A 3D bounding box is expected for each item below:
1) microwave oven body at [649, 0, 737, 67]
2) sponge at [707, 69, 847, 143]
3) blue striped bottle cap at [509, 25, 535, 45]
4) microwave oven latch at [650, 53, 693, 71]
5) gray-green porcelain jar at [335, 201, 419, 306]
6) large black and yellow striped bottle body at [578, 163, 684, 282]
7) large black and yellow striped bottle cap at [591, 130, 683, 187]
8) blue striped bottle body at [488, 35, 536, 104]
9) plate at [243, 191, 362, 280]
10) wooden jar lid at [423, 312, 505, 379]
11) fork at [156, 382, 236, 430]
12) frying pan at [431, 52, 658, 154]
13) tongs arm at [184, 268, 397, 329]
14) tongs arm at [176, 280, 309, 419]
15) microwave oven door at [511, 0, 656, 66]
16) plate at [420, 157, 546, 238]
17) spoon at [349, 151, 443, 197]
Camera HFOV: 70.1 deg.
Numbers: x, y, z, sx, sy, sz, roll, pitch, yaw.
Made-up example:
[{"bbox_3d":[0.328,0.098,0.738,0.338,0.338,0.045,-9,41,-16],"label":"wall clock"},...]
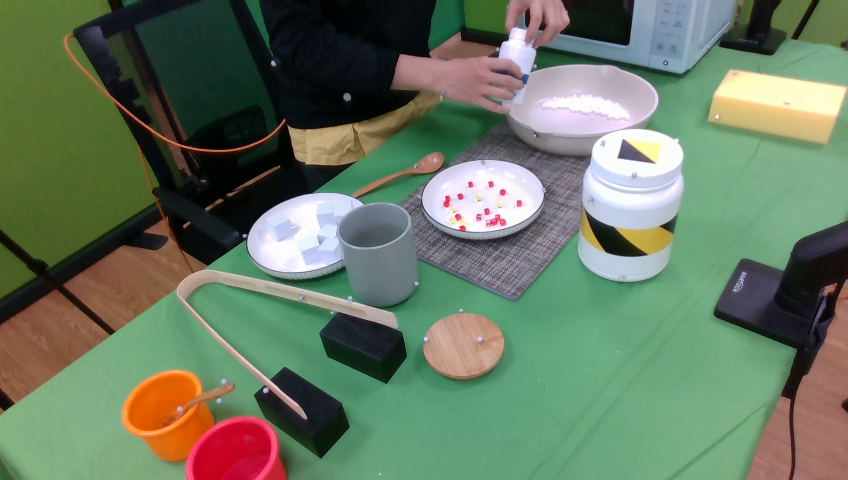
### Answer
[{"bbox_3d":[0.475,-0.602,1.411,0.438,0.261,0.327,23,50,32],"label":"microwave oven body"},{"bbox_3d":[0.663,-0.256,1.141,0.205,0.061,0.118,18,47,28],"label":"sponge"},{"bbox_3d":[0.170,-0.352,1.046,0.044,0.045,0.020,9,82,18],"label":"blue striped bottle cap"},{"bbox_3d":[0.531,-0.386,1.301,0.078,0.029,0.030,26,51,33],"label":"microwave oven latch"},{"bbox_3d":[-0.064,0.024,0.872,0.106,0.127,0.105,-4,41,4],"label":"gray-green porcelain jar"},{"bbox_3d":[0.291,-0.046,0.858,0.131,0.185,0.130,-4,41,4],"label":"large black and yellow striped bottle body"},{"bbox_3d":[0.282,-0.111,0.803,0.115,0.019,0.114,-3,41,3],"label":"large black and yellow striped bottle cap"},{"bbox_3d":[0.158,-0.307,1.065,0.063,0.121,0.063,13,17,-4],"label":"blue striped bottle body"},{"bbox_3d":[-0.188,-0.005,0.992,0.207,0.039,0.206,-4,40,4],"label":"plate"},{"bbox_3d":[0.053,0.142,0.800,0.108,0.021,0.108,-5,39,4],"label":"wooden jar lid"},{"bbox_3d":[-0.262,0.189,0.690,0.018,0.206,0.028,49,43,-7],"label":"fork"},{"bbox_3d":[0.216,-0.302,1.223,0.484,0.103,0.308,29,50,24],"label":"frying pan"},{"bbox_3d":[-0.202,0.084,0.848,0.382,0.027,0.051,11,45,35],"label":"tongs arm"},{"bbox_3d":[-0.254,0.133,0.801,0.028,0.028,0.384,-41,41,-23],"label":"tongs arm"},{"bbox_3d":[0.351,-0.540,1.349,0.353,0.245,0.039,24,50,31],"label":"microwave oven door"},{"bbox_3d":[0.099,-0.067,1.017,0.209,0.038,0.208,-4,40,4],"label":"plate"},{"bbox_3d":[-0.051,-0.122,1.120,0.194,0.022,0.041,-22,59,-18],"label":"spoon"}]
